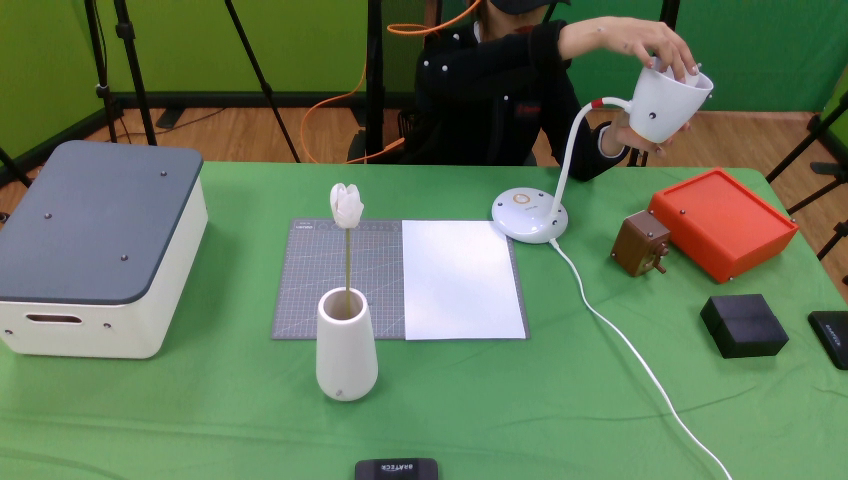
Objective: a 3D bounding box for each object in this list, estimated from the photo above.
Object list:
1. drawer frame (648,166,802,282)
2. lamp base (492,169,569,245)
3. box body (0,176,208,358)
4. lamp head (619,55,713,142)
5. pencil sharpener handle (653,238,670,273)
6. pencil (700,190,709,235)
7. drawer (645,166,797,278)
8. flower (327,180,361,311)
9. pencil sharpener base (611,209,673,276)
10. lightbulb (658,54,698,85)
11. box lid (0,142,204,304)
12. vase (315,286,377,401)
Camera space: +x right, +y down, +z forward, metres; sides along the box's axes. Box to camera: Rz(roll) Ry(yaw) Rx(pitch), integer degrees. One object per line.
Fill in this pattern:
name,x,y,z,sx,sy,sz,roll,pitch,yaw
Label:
drawer frame,0.603,-0.040,1.234,0.202,0.083,0.212,-21,51,-23
lamp base,0.234,-0.100,1.199,0.161,0.181,0.178,-23,55,-25
box body,-0.546,0.017,1.045,0.254,0.161,0.361,2,46,-2
lamp head,0.379,-0.223,0.977,0.113,0.123,0.111,15,39,-12
pencil sharpener handle,0.444,0.030,1.120,0.036,0.068,0.030,-25,52,-18
pencil,0.583,-0.058,1.257,0.012,0.012,0.193,16,35,12
drawer,0.600,-0.041,1.235,0.195,0.073,0.210,-21,51,-23
flower,-0.110,0.086,0.867,0.044,0.363,0.038,22,33,35
pencil sharpener base,0.416,0.007,1.158,0.061,0.107,0.076,-21,51,-22
lightbulb,0.392,-0.241,0.964,0.059,0.108,0.059,14,30,-8
box lid,-0.534,-0.044,0.995,0.263,0.015,0.369,3,45,-3
vase,-0.119,0.159,0.911,0.098,0.201,0.097,2,47,-2
